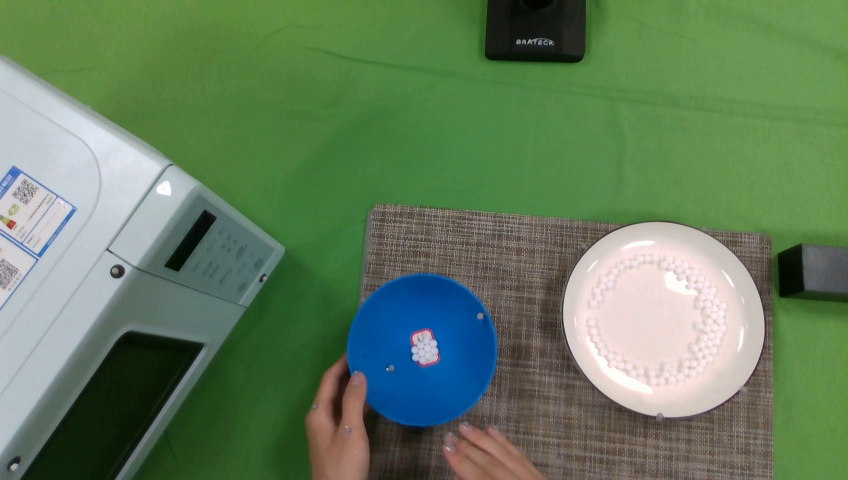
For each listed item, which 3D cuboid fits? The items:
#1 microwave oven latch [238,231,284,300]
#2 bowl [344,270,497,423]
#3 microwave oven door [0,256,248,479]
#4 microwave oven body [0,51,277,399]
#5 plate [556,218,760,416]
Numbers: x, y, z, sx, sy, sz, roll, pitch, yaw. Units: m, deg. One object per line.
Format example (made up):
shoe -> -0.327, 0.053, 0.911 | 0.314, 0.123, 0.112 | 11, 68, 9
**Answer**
microwave oven latch -> -0.187, 0.026, 0.666 | 0.030, 0.029, 0.079 | 33, 82, 9
bowl -> -0.002, 0.112, 0.631 | 0.151, 0.077, 0.150 | -1, 77, 3
microwave oven door -> -0.309, 0.186, 0.534 | 0.039, 0.245, 0.355 | 30, 81, 10
microwave oven body -> -0.411, 0.078, 0.567 | 0.325, 0.261, 0.441 | 31, 81, 9
plate -> 0.244, 0.081, 0.646 | 0.207, 0.039, 0.206 | -1, 78, 3
